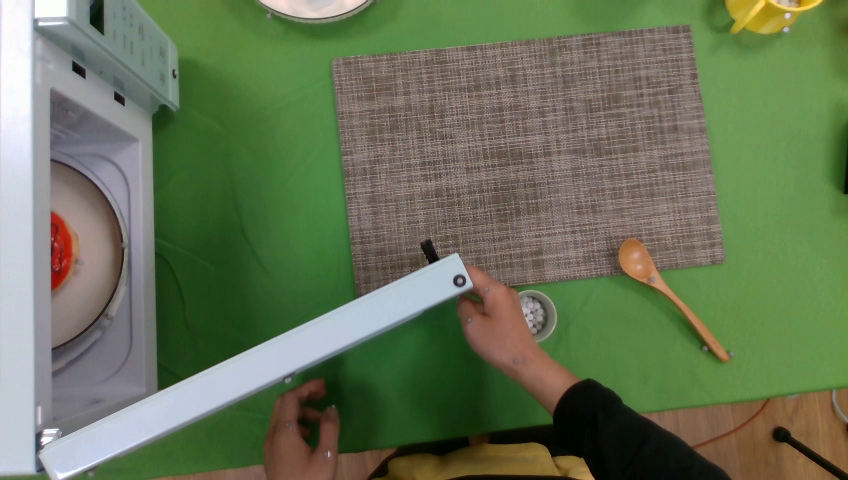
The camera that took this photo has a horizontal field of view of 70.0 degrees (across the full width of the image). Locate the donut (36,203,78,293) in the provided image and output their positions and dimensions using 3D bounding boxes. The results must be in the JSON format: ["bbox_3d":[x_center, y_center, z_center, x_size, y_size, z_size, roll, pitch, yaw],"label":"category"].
[{"bbox_3d":[-0.412,0.008,0.628,0.099,0.048,0.099,0,91,1],"label":"donut"}]

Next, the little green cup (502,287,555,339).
[{"bbox_3d":[0.121,0.086,0.713,0.061,0.039,0.061,0,85,3],"label":"little green cup"}]

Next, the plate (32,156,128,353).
[{"bbox_3d":[-0.416,0.016,0.638,0.209,0.038,0.208,0,86,-2],"label":"plate"}]

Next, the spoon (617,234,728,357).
[{"bbox_3d":[0.298,0.070,0.724,0.041,0.021,0.193,-43,90,-20],"label":"spoon"}]

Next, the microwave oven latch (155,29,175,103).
[{"bbox_3d":[-0.305,-0.201,0.701,0.030,0.029,0.079,-1,86,-2],"label":"microwave oven latch"}]

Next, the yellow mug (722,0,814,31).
[{"bbox_3d":[0.416,-0.306,0.736,0.100,0.064,0.131,42,87,2],"label":"yellow mug"}]

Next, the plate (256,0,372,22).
[{"bbox_3d":[-0.133,-0.362,0.737,0.208,0.039,0.207,0,86,-2],"label":"plate"}]

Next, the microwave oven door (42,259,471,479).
[{"bbox_3d":[-0.129,0.107,0.583,0.356,0.244,0.039,-25,85,-3],"label":"microwave oven door"}]

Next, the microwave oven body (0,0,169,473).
[{"bbox_3d":[-0.440,-0.024,0.588,0.326,0.260,0.440,-3,86,-2],"label":"microwave oven body"}]
